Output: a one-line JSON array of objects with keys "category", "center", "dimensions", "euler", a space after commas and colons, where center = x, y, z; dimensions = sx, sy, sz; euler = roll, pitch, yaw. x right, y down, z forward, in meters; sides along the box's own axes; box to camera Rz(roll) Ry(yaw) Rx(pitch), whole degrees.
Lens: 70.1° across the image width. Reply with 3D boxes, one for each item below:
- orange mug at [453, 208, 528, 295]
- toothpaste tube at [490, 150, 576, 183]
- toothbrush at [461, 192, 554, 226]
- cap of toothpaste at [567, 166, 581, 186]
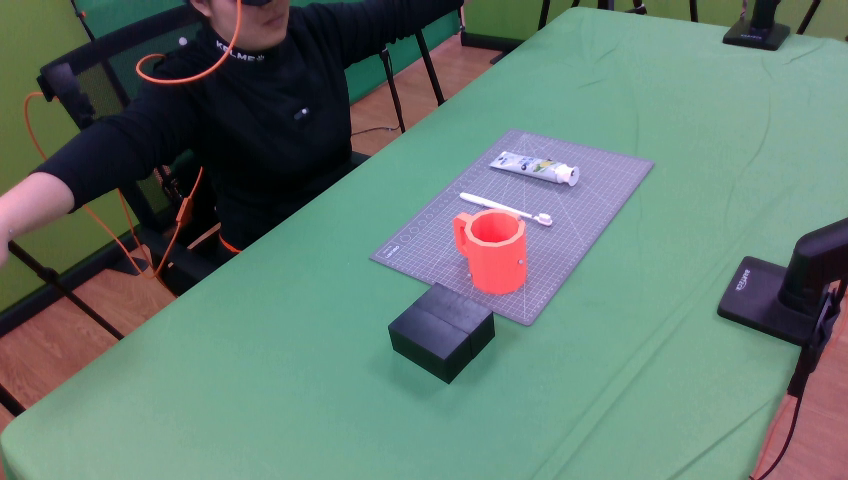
[{"category": "orange mug", "center": [0.094, 0.009, 0.894], "dimensions": [0.125, 0.101, 0.084], "euler": [32, 55, 33]}, {"category": "toothpaste tube", "center": [0.202, -0.135, 1.098], "dimensions": [0.164, 0.034, 0.055], "euler": [21, 45, 34]}, {"category": "toothbrush", "center": [0.137, -0.056, 1.026], "dimensions": [0.180, 0.017, 0.014], "euler": [20, 62, 32]}, {"category": "cap of toothpaste", "center": [0.260, -0.112, 1.052], "dimensions": [0.011, 0.037, 0.037], "euler": [22, 50, 36]}]
